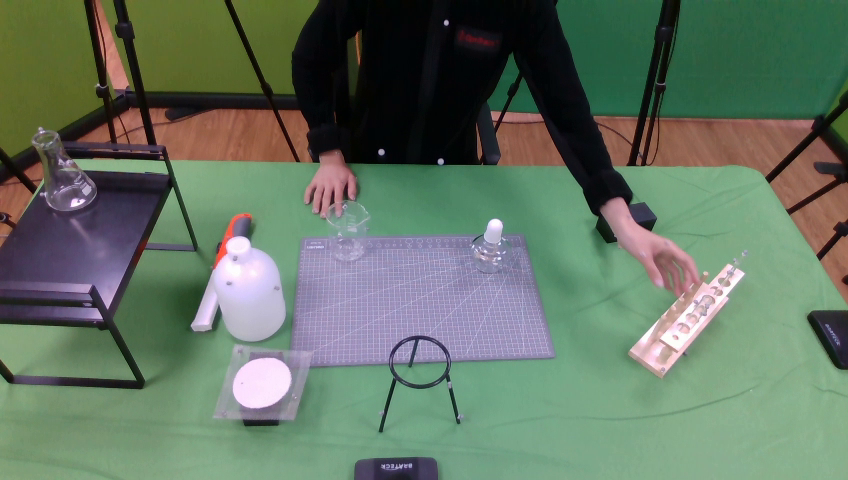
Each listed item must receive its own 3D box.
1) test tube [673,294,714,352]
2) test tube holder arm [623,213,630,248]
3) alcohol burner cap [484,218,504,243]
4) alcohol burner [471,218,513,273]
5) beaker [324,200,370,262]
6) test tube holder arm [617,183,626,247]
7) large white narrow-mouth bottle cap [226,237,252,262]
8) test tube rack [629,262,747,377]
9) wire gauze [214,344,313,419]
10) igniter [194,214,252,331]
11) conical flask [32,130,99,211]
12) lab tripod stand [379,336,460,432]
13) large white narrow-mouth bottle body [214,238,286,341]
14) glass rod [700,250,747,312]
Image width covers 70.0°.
[{"bbox_3d":[0.428,0.137,0.978,0.017,0.151,0.017,4,47,-4],"label":"test tube"},{"bbox_3d":[0.392,-0.020,1.180,0.010,0.015,0.087,15,47,-1],"label":"test tube holder arm"},{"bbox_3d":[0.130,-0.021,1.106,0.034,0.048,0.033,3,51,-4],"label":"alcohol burner cap"},{"bbox_3d":[0.128,0.005,1.132,0.078,0.120,0.077,0,47,0],"label":"alcohol burner"},{"bbox_3d":[-0.143,-0.015,1.142,0.084,0.101,0.073,1,46,-4],"label":"beaker"},{"bbox_3d":[0.395,-0.053,1.210,0.013,0.015,0.177,15,47,-1],"label":"test tube holder arm"},{"bbox_3d":[-0.282,0.015,0.923,0.038,0.024,0.037,2,46,-2],"label":"large white narrow-mouth bottle cap"},{"bbox_3d":[0.464,0.126,1.060,0.242,0.085,0.066,-34,56,-31],"label":"test tube rack"},{"bbox_3d":[-0.241,0.213,0.915,0.121,0.011,0.124,5,46,1],"label":"wire gauze"},{"bbox_3d":[-0.367,0.050,1.119,0.057,0.025,0.275,-4,46,7],"label":"igniter"},{"bbox_3d":[-0.565,-0.111,0.944,0.075,0.122,0.075,2,46,-2],"label":"conical flask"},{"bbox_3d":[-0.011,0.214,0.912,0.148,0.132,0.147,1,45,0],"label":"lab tripod stand"},{"bbox_3d":[-0.285,0.073,0.986,0.102,0.195,0.101,2,46,-2],"label":"large white narrow-mouth bottle body"},{"bbox_3d":[0.500,0.075,1.021,0.008,0.201,0.008,0,54,1],"label":"glass rod"}]
